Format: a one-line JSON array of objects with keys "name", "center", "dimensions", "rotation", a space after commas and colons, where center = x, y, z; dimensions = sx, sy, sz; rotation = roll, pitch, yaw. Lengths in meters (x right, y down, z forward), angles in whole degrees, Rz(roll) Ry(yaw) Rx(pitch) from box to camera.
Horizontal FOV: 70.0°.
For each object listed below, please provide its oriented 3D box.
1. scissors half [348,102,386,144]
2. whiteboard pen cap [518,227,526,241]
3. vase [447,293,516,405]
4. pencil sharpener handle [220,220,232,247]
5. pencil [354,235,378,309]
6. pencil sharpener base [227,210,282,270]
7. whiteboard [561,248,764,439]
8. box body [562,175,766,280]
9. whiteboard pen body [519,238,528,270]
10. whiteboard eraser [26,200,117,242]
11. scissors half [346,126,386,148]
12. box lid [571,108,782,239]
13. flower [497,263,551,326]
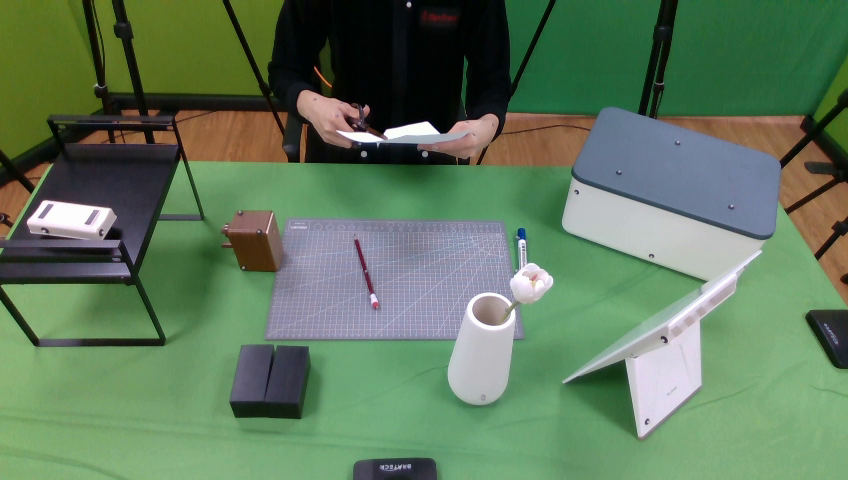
[{"name": "scissors half", "center": [-0.099, -0.199, 1.041], "dimensions": [0.013, 0.040, 0.174], "rotation": [-7, 34, -25]}, {"name": "whiteboard pen cap", "center": [0.197, -0.009, 1.220], "dimensions": [0.018, 0.018, 0.033], "rotation": [5, 51, 1]}, {"name": "vase", "center": [0.091, 0.169, 0.921], "dimensions": [0.098, 0.201, 0.097], "rotation": [3, 47, -3]}, {"name": "pencil sharpener handle", "center": [-0.362, -0.009, 1.104], "dimensions": [0.030, 0.068, 0.036], "rotation": [1, 52, 1]}, {"name": "pencil", "center": [-0.113, 0.055, 1.143], "dimensions": [0.012, 0.012, 0.192], "rotation": [-10, 46, -13]}, {"name": "pencil sharpener base", "center": [-0.311, 0.001, 1.112], "dimensions": [0.077, 0.107, 0.061], "rotation": [1, 47, 1]}, {"name": "whiteboard", "center": [0.386, 0.176, 0.905], "dimensions": [0.217, 0.306, 0.143], "rotation": [-26, 72, -27]}, {"name": "box body", "center": [0.486, -0.088, 1.222], "dimensions": [0.363, 0.161, 0.253], "rotation": [20, 48, 15]}, {"name": "whiteboard pen body", "center": [0.193, 0.035, 1.180], "dimensions": [0.017, 0.017, 0.140], "rotation": [6, 48, 1]}, {"name": "whiteboard eraser", "center": [-0.532, -0.026, 0.919], "dimensions": [0.113, 0.042, 0.055], "rotation": [7, 45, 3]}, {"name": "scissors half", "center": [-0.101, -0.179, 1.047], "dimensions": [0.013, 0.040, 0.174], "rotation": [-1, 8, -27]}, {"name": "box lid", "center": [0.491, -0.139, 1.168], "dimensions": [0.370, 0.015, 0.262], "rotation": [21, 49, 15]}, {"name": "flower", "center": [0.102, 0.121, 0.853], "dimensions": [0.044, 0.363, 0.038], "rotation": [-2, 64, -10]}]
